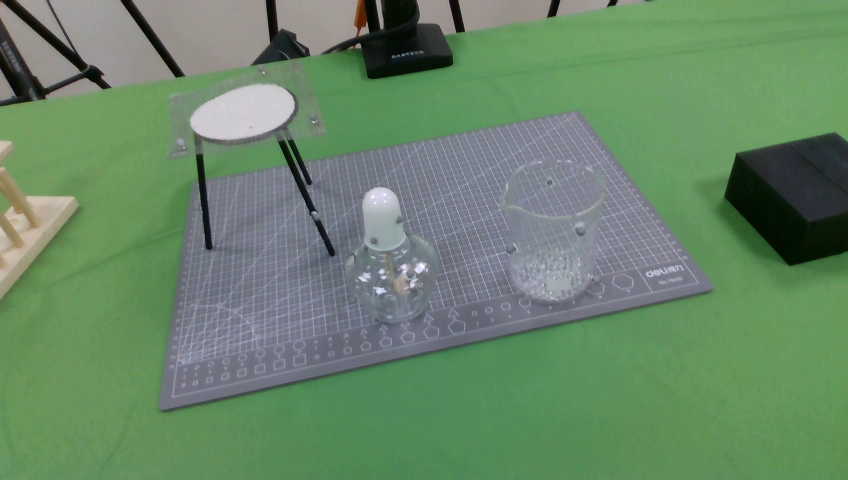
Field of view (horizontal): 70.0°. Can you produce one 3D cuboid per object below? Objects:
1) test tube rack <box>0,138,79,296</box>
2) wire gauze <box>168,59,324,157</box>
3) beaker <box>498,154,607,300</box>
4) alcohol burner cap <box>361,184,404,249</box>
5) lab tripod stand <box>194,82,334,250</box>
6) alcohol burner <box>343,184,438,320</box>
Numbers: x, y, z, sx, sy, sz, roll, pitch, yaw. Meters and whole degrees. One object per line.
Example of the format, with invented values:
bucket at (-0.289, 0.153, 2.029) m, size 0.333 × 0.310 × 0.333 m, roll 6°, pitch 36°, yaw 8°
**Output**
test tube rack at (-0.430, 0.009, 0.555) m, size 0.066 × 0.086 × 0.240 m, roll 2°, pitch 43°, yaw 9°
wire gauze at (-0.155, -0.112, 0.511) m, size 0.125 × 0.011 × 0.120 m, roll -16°, pitch 43°, yaw -8°
beaker at (0.101, -0.007, 0.489) m, size 0.084 × 0.101 × 0.073 m, roll -14°, pitch 43°, yaw -6°
alcohol burner cap at (-0.033, -0.019, 0.457) m, size 0.034 × 0.048 × 0.033 m, roll -2°, pitch 40°, yaw 2°
lab tripod stand at (-0.148, -0.064, 0.557) m, size 0.148 × 0.133 × 0.147 m, roll -4°, pitch 45°, yaw 4°
alcohol burner at (-0.029, 0.006, 0.482) m, size 0.078 × 0.120 × 0.077 m, roll -4°, pitch 41°, yaw 4°
